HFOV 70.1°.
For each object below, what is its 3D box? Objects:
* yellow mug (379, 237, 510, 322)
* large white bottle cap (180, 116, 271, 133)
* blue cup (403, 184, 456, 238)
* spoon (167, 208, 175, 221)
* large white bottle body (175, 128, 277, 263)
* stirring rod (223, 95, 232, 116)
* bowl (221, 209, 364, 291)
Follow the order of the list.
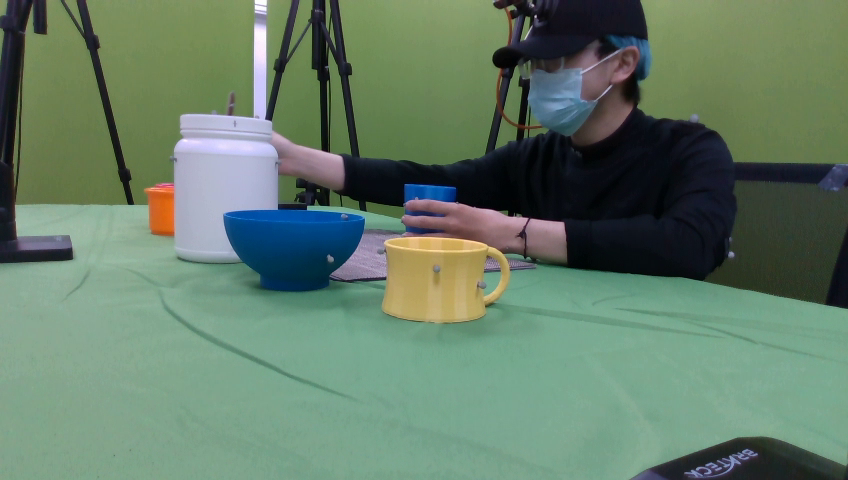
[{"bbox_3d":[0.024,0.034,0.575,0.131,0.064,0.099,1,7,-22],"label":"yellow mug"},{"bbox_3d":[-0.262,-0.152,0.803,0.115,0.018,0.115,1,7,0],"label":"large white bottle cap"},{"bbox_3d":[0.007,-0.038,0.965,0.093,0.100,0.092,3,6,0],"label":"blue cup"},{"bbox_3d":[-0.447,-0.104,1.191,0.041,0.022,0.193,7,52,15],"label":"spoon"},{"bbox_3d":[-0.265,-0.068,0.814,0.131,0.184,0.130,2,7,0],"label":"large white bottle body"},{"bbox_3d":[-0.346,-0.184,1.045,0.006,0.175,0.014,-10,-32,11],"label":"stirring rod"},{"bbox_3d":[-0.142,0.011,0.660,0.151,0.077,0.151,2,7,0],"label":"bowl"}]
